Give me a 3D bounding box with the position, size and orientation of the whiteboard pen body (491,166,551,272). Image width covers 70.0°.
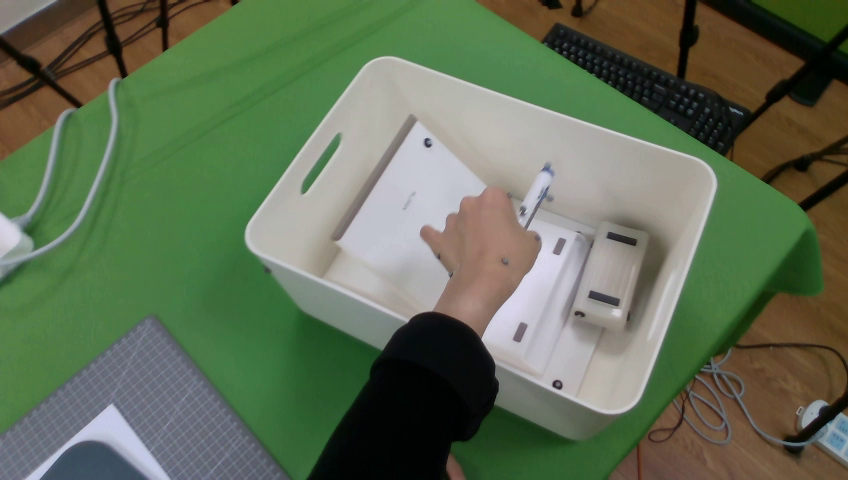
[{"bbox_3d":[0.083,-0.010,0.542,0.017,0.017,0.140,22,65,16],"label":"whiteboard pen body"}]

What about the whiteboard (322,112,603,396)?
[{"bbox_3d":[0.046,0.000,0.619,0.304,0.145,0.216,21,64,16],"label":"whiteboard"}]

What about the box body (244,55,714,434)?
[{"bbox_3d":[0.053,0.004,0.606,0.362,0.162,0.253,22,65,15],"label":"box body"}]

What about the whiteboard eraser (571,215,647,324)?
[{"bbox_3d":[0.194,0.031,0.633,0.055,0.042,0.112,14,65,20],"label":"whiteboard eraser"}]

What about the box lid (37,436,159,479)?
[{"bbox_3d":[-0.264,0.368,0.518,0.369,0.015,0.262,30,67,17],"label":"box lid"}]

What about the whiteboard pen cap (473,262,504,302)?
[{"bbox_3d":[0.056,0.036,0.517,0.018,0.018,0.033,23,64,16],"label":"whiteboard pen cap"}]

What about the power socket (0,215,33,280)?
[{"bbox_3d":[-0.556,0.058,0.693,0.072,0.033,0.226,35,69,19],"label":"power socket"}]
